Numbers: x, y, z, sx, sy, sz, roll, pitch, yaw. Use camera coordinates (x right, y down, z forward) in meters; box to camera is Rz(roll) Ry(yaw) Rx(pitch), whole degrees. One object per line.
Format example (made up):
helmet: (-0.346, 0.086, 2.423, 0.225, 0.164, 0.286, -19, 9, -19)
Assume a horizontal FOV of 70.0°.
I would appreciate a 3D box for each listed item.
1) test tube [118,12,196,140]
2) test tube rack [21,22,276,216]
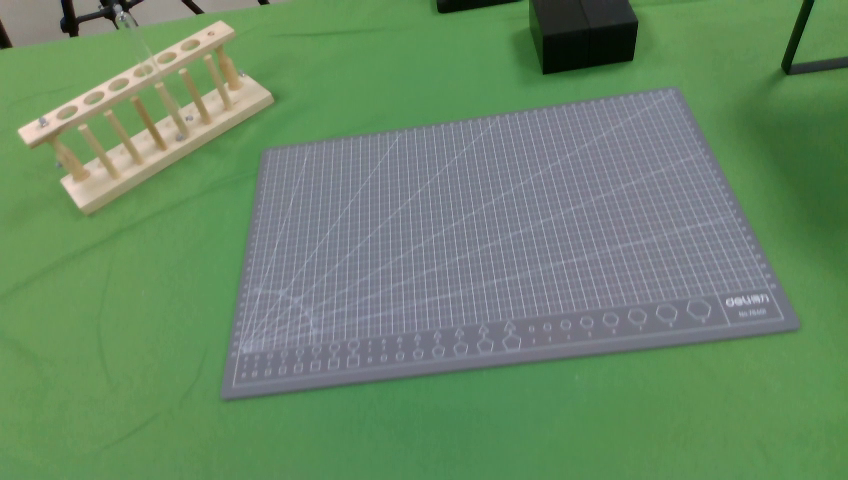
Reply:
test tube: (-0.275, -0.166, 0.630, 0.017, 0.152, 0.017, -5, 49, 6)
test tube rack: (-0.294, -0.137, 0.670, 0.242, 0.086, 0.066, -38, 54, -19)
